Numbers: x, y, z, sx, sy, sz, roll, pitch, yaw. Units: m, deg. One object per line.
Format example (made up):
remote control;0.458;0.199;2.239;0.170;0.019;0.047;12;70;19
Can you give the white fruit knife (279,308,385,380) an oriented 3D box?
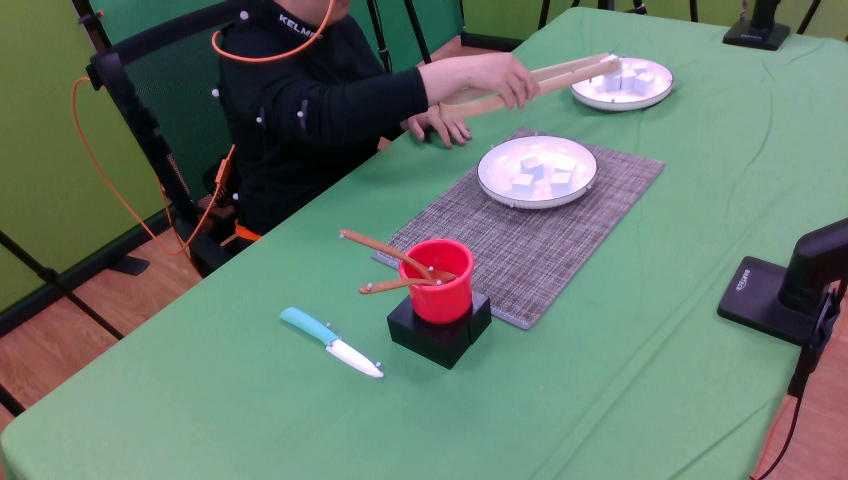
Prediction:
white fruit knife;-0.130;0.143;0.845;0.205;0.016;0.027;25;79;32

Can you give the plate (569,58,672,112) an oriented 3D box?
plate;0.411;-0.323;1.274;0.209;0.038;0.208;-5;41;5

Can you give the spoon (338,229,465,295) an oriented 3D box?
spoon;-0.025;0.026;0.776;0.021;0.195;0.041;-41;34;32

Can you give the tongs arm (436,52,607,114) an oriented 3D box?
tongs arm;0.189;-0.298;1.131;0.389;0.028;0.028;-19;44;-19

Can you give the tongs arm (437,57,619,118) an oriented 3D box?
tongs arm;0.200;-0.286;1.114;0.386;0.026;0.050;-22;41;-23

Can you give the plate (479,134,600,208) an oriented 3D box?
plate;0.202;-0.117;1.065;0.207;0.039;0.206;-5;40;5

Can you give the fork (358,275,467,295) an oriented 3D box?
fork;-0.009;0.056;0.739;0.028;0.018;0.209;48;23;26
